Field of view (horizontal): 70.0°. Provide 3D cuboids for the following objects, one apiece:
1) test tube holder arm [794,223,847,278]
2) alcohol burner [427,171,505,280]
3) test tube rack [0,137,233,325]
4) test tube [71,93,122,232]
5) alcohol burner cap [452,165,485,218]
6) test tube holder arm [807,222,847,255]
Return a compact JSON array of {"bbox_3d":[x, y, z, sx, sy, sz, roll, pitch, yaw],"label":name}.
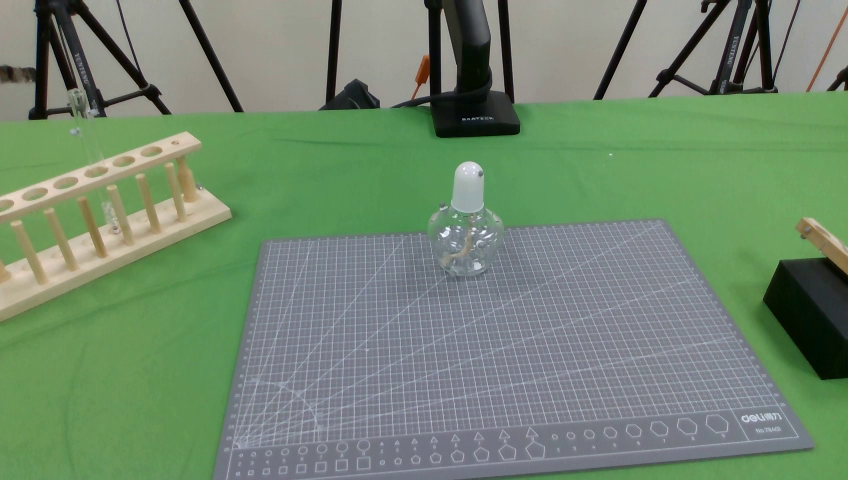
[{"bbox_3d":[0.375,0.014,0.555,0.010,0.015,0.087,-5,39,-14],"label":"test tube holder arm"},{"bbox_3d":[0.042,-0.019,0.594,0.078,0.120,0.077,1,39,-1],"label":"alcohol burner"},{"bbox_3d":[-0.328,-0.018,0.618,0.242,0.086,0.066,-30,47,-33],"label":"test tube rack"},{"bbox_3d":[-0.326,-0.073,0.608,0.017,0.151,0.017,2,33,-1],"label":"test tube"},{"bbox_3d":[0.043,-0.048,0.573,0.034,0.048,0.033,1,37,-1],"label":"alcohol burner cap"},{"bbox_3d":[0.392,0.041,0.523,0.013,0.015,0.176,-6,39,-15],"label":"test tube holder arm"}]
